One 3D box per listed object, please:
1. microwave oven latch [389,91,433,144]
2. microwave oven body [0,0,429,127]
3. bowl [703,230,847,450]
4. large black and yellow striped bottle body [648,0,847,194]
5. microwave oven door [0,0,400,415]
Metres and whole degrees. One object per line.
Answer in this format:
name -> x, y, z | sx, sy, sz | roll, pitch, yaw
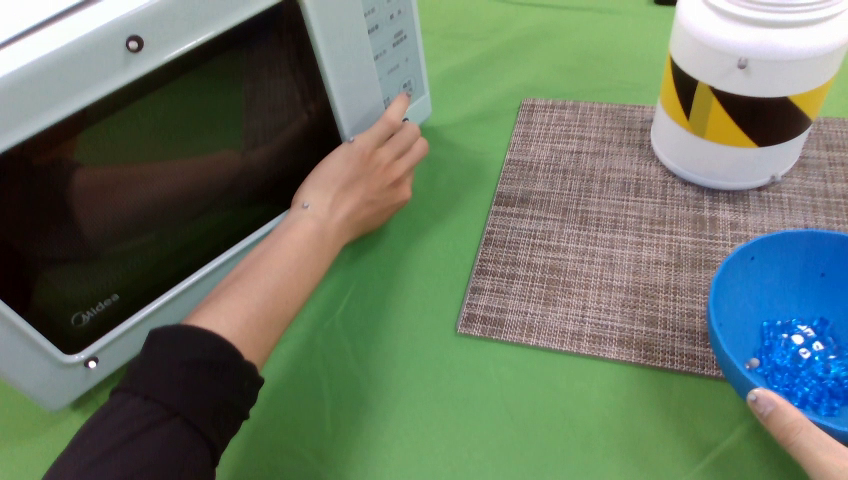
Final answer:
microwave oven latch -> -0.025, -0.123, 0.617 | 0.030, 0.030, 0.079 | 35, 64, 31
microwave oven body -> -0.265, -0.144, 0.546 | 0.323, 0.263, 0.441 | 33, 63, 30
bowl -> 0.255, 0.075, 0.395 | 0.151, 0.077, 0.150 | -5, 49, 6
large black and yellow striped bottle body -> 0.269, -0.145, 0.508 | 0.130, 0.186, 0.129 | -5, 50, 6
microwave oven door -> -0.180, -0.049, 0.445 | 0.355, 0.246, 0.039 | -38, 54, -21
